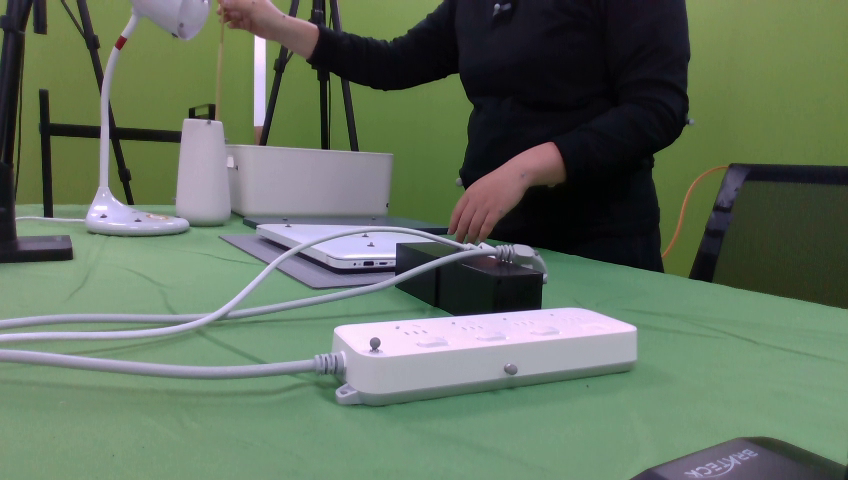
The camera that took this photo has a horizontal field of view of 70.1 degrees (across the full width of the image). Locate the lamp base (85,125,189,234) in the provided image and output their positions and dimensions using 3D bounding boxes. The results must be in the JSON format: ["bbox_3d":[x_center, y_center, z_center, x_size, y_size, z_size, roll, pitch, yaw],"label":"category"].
[{"bbox_3d":[-0.498,-0.105,1.026,0.179,0.180,0.160,1,7,3],"label":"lamp base"}]

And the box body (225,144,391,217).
[{"bbox_3d":[-0.290,-0.143,1.474,0.366,0.160,0.253,-1,9,-29],"label":"box body"}]

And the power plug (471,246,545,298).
[{"bbox_3d":[0.081,0.030,0.584,0.072,0.052,0.035,11,28,9],"label":"power plug"}]

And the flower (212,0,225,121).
[{"bbox_3d":[-0.384,-0.407,1.144,0.044,0.361,0.038,13,9,43],"label":"flower"}]

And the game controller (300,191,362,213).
[{"bbox_3d":[-0.241,-0.098,1.550,0.155,0.051,0.097,2,8,5],"label":"game controller"}]

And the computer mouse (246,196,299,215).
[{"bbox_3d":[-0.355,-0.082,1.418,0.117,0.041,0.063,1,9,7],"label":"computer mouse"}]

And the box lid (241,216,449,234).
[{"bbox_3d":[-0.162,-0.030,1.233,0.373,0.015,0.262,-1,8,-32],"label":"box lid"}]

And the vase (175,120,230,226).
[{"bbox_3d":[-0.425,-0.128,1.159,0.098,0.200,0.098,2,9,0],"label":"vase"}]

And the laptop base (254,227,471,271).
[{"bbox_3d":[-0.095,0.011,0.911,0.237,0.023,0.352,2,7,-32],"label":"laptop base"}]

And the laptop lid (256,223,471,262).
[{"bbox_3d":[-0.093,0.000,0.911,0.243,0.013,0.355,1,7,-30],"label":"laptop lid"}]

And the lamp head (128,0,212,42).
[{"bbox_3d":[-0.423,-0.394,0.980,0.123,0.112,0.112,21,7,-3],"label":"lamp head"}]

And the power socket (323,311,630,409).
[{"bbox_3d":[0.042,0.075,0.410,0.228,0.032,0.072,-1,7,-26],"label":"power socket"}]

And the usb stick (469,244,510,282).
[{"bbox_3d":[0.079,0.028,0.673,0.059,0.021,0.027,26,28,-29],"label":"usb stick"}]
